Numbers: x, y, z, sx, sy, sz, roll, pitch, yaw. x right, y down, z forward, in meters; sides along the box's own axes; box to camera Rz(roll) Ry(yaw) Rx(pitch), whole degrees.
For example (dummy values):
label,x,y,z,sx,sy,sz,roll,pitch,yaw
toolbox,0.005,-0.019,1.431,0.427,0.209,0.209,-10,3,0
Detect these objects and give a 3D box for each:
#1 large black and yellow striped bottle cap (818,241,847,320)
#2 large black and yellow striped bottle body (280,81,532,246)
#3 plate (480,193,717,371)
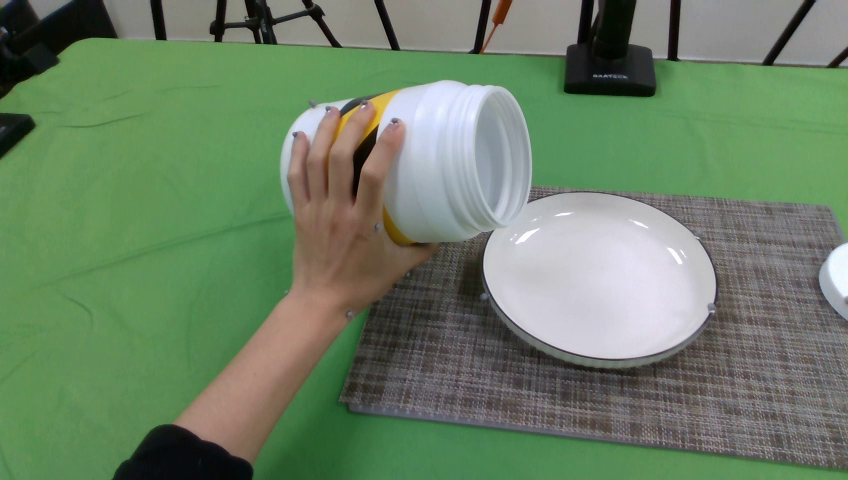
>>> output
label,x,y,z,sx,sy,sz,roll,pitch,yaw
large black and yellow striped bottle cap,0.421,0.045,0.547,0.115,0.019,0.114,1,46,0
large black and yellow striped bottle body,-0.014,-0.062,0.514,0.183,0.132,0.130,-1,41,32
plate,0.156,0.036,0.559,0.207,0.039,0.205,-2,45,2
